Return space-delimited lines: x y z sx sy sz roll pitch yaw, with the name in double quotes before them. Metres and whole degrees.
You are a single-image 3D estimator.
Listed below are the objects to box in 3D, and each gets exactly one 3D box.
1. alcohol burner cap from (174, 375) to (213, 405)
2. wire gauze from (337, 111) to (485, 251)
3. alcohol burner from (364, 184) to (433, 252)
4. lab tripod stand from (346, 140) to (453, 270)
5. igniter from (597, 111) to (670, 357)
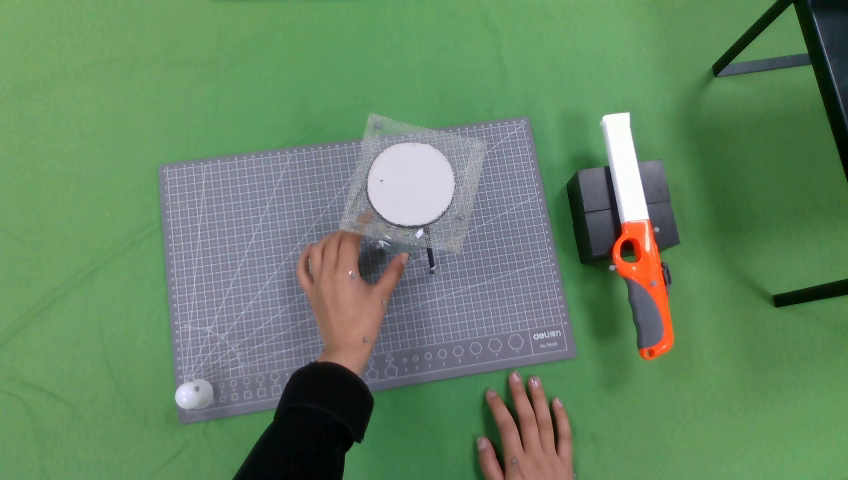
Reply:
"alcohol burner cap" -0.251 0.162 0.651 0.034 0.048 0.033 1 79 -3
"wire gauze" -0.011 -0.058 0.590 0.121 0.011 0.124 14 77 0
"alcohol burner" -0.028 -0.027 0.662 0.078 0.119 0.077 0 81 -2
"lab tripod stand" -0.017 -0.047 0.656 0.148 0.132 0.147 1 77 -2
"igniter" 0.230 -0.011 0.670 0.057 0.025 0.275 -6 78 -1
